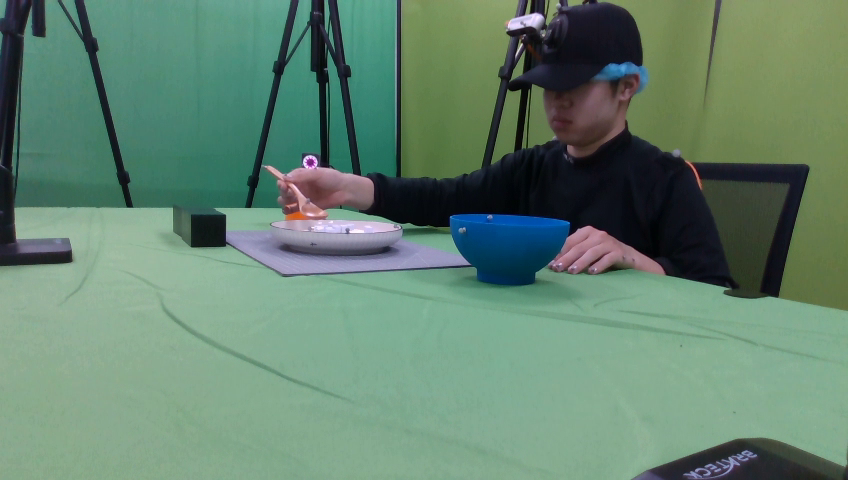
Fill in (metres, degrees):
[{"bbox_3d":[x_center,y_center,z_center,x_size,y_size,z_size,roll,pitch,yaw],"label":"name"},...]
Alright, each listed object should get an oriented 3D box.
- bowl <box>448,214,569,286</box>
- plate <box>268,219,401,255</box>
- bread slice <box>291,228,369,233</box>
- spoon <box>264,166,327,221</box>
[{"bbox_3d":[0.103,0.012,0.758,0.151,0.077,0.151,2,7,0],"label":"bowl"},{"bbox_3d":[-0.140,-0.006,0.958,0.209,0.038,0.209,3,7,0],"label":"plate"},{"bbox_3d":[-0.143,-0.004,0.953,0.135,0.018,0.106,-2,9,-37],"label":"bread slice"},{"bbox_3d":[-0.222,-0.082,1.020,0.042,0.021,0.193,-11,41,-38],"label":"spoon"}]
